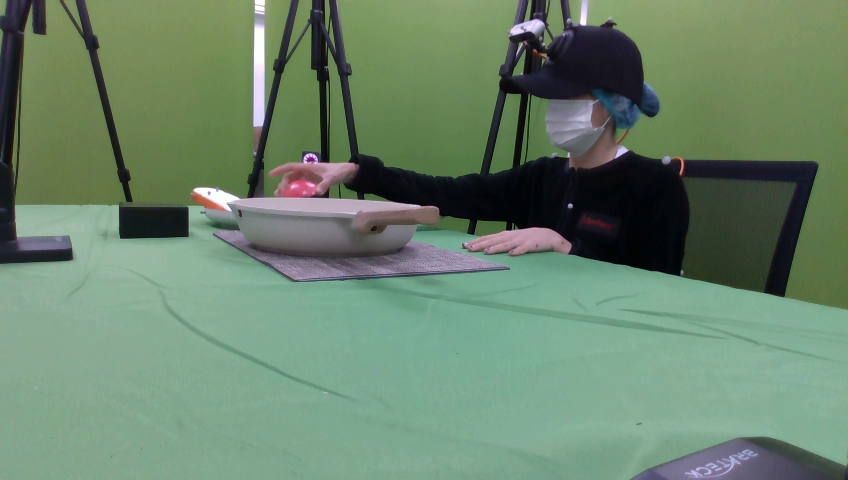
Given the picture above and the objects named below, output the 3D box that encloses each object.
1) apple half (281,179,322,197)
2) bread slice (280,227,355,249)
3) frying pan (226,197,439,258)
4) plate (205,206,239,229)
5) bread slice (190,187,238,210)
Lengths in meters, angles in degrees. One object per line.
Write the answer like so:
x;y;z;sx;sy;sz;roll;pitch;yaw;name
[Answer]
-0.235;-0.101;1.158;0.081;0.033;0.081;-11;12;3;apple half
-0.171;-0.004;0.943;0.107;0.018;0.134;2;7;-15;bread slice
-0.103;-0.027;0.845;0.308;0.102;0.486;-1;0;-25;frying pan
-0.324;-0.046;1.199;0.208;0.039;0.207;3;7;0;plate
-0.402;-0.074;1.218;0.131;0.019;0.105;26;12;15;bread slice
